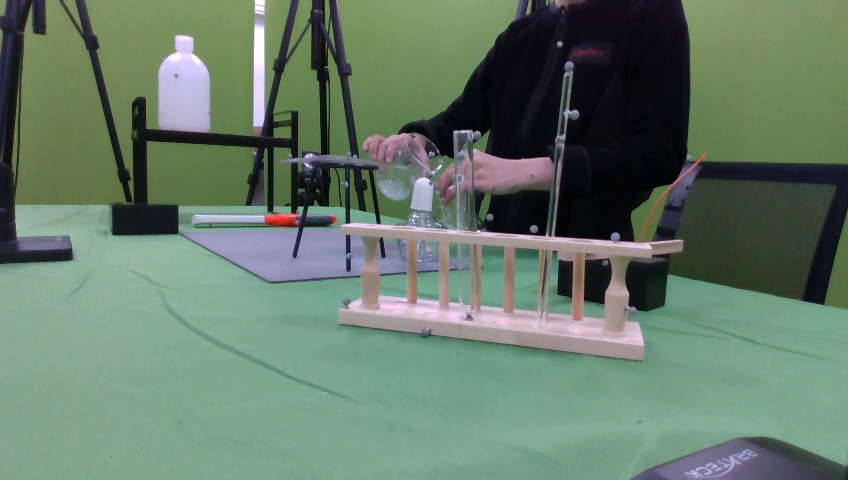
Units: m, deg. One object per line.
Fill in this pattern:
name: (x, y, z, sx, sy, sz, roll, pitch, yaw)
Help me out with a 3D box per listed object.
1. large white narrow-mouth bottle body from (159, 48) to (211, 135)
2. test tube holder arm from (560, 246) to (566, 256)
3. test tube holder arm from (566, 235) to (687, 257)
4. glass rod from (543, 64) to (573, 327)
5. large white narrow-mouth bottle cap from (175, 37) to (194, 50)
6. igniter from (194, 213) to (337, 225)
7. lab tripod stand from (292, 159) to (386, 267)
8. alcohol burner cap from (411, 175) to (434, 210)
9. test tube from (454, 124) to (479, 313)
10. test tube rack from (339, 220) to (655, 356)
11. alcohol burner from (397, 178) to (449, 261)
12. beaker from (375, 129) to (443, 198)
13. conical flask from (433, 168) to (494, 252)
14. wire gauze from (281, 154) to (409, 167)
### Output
large white narrow-mouth bottle body: (-0.503, -0.323, 1.275, 0.102, 0.194, 0.102, 2, 7, 0)
test tube holder arm: (0.173, 0.007, 0.612, 0.088, 0.015, 0.010, -3, 9, -30)
test tube holder arm: (0.215, 0.006, 0.630, 0.179, 0.015, 0.013, -3, 9, -31)
glass rod: (0.101, -0.028, 0.453, 0.008, 0.199, 0.008, 2, 13, 0)
large white narrow-mouth bottle cap: (-0.501, -0.409, 1.264, 0.038, 0.024, 0.037, 2, 7, 0)
igniter: (-0.306, -0.042, 1.196, 0.278, 0.025, 0.057, -2, -2, -30)
lab tripod stand: (-0.105, -0.039, 0.797, 0.148, 0.131, 0.148, 2, 5, 0)
alcohol burner cap: (0.000, -0.067, 0.842, 0.034, 0.048, 0.034, 7, 8, -1)
test tube: (0.034, -0.015, 0.477, 0.017, 0.150, 0.017, -2, 9, 1)
test tube rack: (0.056, 0.032, 0.495, 0.242, 0.085, 0.067, 4, 7, 15)
alcohol burner: (-0.002, -0.031, 0.846, 0.078, 0.119, 0.078, 0, 6, 0)
beaker: (-0.026, -0.120, 0.992, 0.074, 0.083, 0.100, -8, -25, -48)
conical flask: (0.052, -0.049, 0.934, 0.075, 0.121, 0.075, -22, -12, -5)
wire gauze: (-0.104, -0.104, 0.784, 0.126, 0.011, 0.121, -2, 8, -38)
